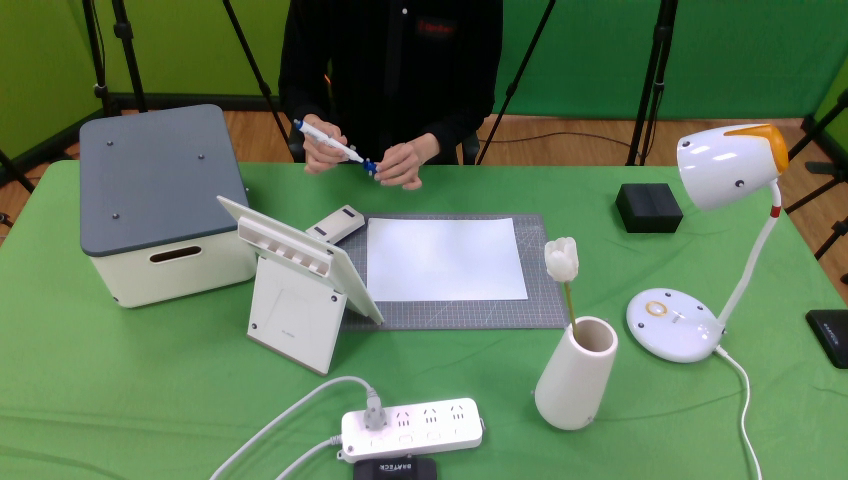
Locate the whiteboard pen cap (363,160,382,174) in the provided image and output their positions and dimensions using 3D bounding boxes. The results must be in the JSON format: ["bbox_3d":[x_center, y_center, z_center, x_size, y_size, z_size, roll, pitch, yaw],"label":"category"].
[{"bbox_3d":[-0.091,-0.129,1.059,0.033,0.018,0.018,18,37,-34],"label":"whiteboard pen cap"}]

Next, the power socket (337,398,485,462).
[{"bbox_3d":[-0.018,0.285,0.914,0.227,0.033,0.071,-4,46,-8],"label":"power socket"}]

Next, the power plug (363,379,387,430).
[{"bbox_3d":[-0.071,0.252,0.911,0.035,0.053,0.072,3,40,0],"label":"power plug"}]

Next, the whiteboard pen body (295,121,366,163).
[{"bbox_3d":[-0.152,-0.160,1.005,0.141,0.017,0.017,27,33,-38],"label":"whiteboard pen body"}]

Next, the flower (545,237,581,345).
[{"bbox_3d":[0.213,0.137,0.846,0.038,0.364,0.044,21,55,39],"label":"flower"}]

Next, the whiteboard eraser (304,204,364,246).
[{"bbox_3d":[-0.175,-0.022,1.188,0.055,0.042,0.112,36,54,26],"label":"whiteboard eraser"}]

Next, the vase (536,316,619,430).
[{"bbox_3d":[0.229,0.200,0.901,0.098,0.201,0.097,3,46,-3],"label":"vase"}]

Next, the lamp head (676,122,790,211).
[{"bbox_3d":[0.423,-0.104,0.819,0.122,0.113,0.112,-13,33,40],"label":"lamp head"}]

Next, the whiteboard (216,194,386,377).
[{"bbox_3d":[-0.212,0.093,0.939,0.216,0.307,0.143,24,70,17],"label":"whiteboard"}]

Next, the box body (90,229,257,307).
[{"bbox_3d":[-0.471,-0.070,1.131,0.254,0.161,0.361,-14,49,-17],"label":"box body"}]

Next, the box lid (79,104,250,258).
[{"bbox_3d":[-0.467,-0.120,1.075,0.264,0.015,0.369,-13,49,-17],"label":"box lid"}]

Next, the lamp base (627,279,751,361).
[{"bbox_3d":[0.460,0.100,1.027,0.178,0.181,0.160,27,51,17],"label":"lamp base"}]
